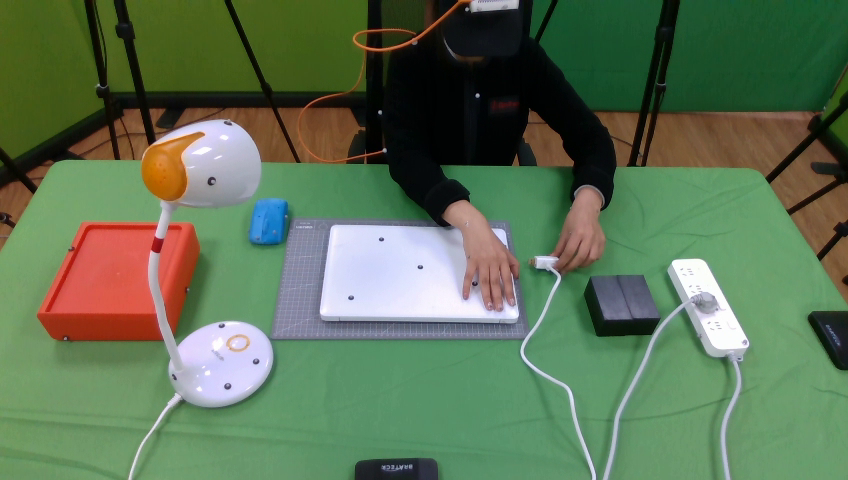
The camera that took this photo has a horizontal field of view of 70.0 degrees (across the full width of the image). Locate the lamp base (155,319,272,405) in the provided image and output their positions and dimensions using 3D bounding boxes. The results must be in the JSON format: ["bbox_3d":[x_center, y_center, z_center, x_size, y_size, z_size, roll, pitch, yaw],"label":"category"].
[{"bbox_3d":[-0.330,0.149,0.918,0.160,0.181,0.179,26,52,20],"label":"lamp base"}]

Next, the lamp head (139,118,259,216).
[{"bbox_3d":[-0.281,-0.086,0.734,0.112,0.113,0.123,21,25,16],"label":"lamp head"}]

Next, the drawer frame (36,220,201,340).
[{"bbox_3d":[-0.518,0.065,1.055,0.202,0.083,0.212,0,47,-5],"label":"drawer frame"}]

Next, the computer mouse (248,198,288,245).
[{"bbox_3d":[-0.309,-0.041,1.205,0.063,0.041,0.116,3,50,-3],"label":"computer mouse"}]

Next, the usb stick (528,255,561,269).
[{"bbox_3d":[0.231,0.042,1.166,0.059,0.021,0.027,4,9,1],"label":"usb stick"}]

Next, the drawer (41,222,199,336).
[{"bbox_3d":[-0.519,0.064,1.058,0.195,0.073,0.210,1,47,-4],"label":"drawer"}]

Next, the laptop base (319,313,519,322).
[{"bbox_3d":[-0.009,0.062,1.138,0.354,0.023,0.234,1,42,-3],"label":"laptop base"}]

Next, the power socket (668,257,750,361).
[{"bbox_3d":[0.517,0.117,1.109,0.072,0.033,0.225,-3,47,-4],"label":"power socket"}]

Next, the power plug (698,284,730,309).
[{"bbox_3d":[0.509,0.096,1.059,0.052,0.073,0.035,-22,61,10],"label":"power plug"}]

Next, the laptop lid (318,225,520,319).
[{"bbox_3d":[-0.009,0.053,1.131,0.357,0.013,0.240,2,44,-2],"label":"laptop lid"}]
